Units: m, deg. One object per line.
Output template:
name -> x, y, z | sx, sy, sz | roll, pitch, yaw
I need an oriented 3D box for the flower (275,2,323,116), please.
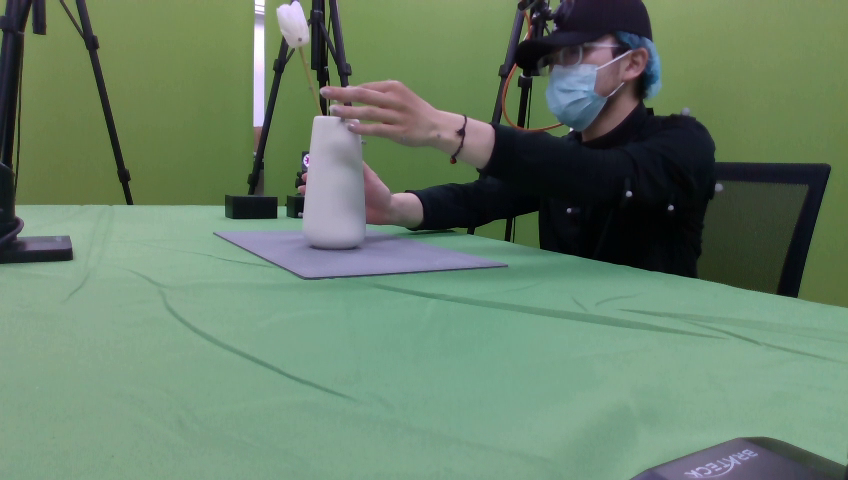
flower -> -0.151, -0.168, 0.913 | 0.038, 0.362, 0.044 | -6, 19, 27

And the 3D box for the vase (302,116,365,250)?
vase -> -0.139, -0.087, 0.930 | 0.098, 0.200, 0.098 | 2, 9, 0
